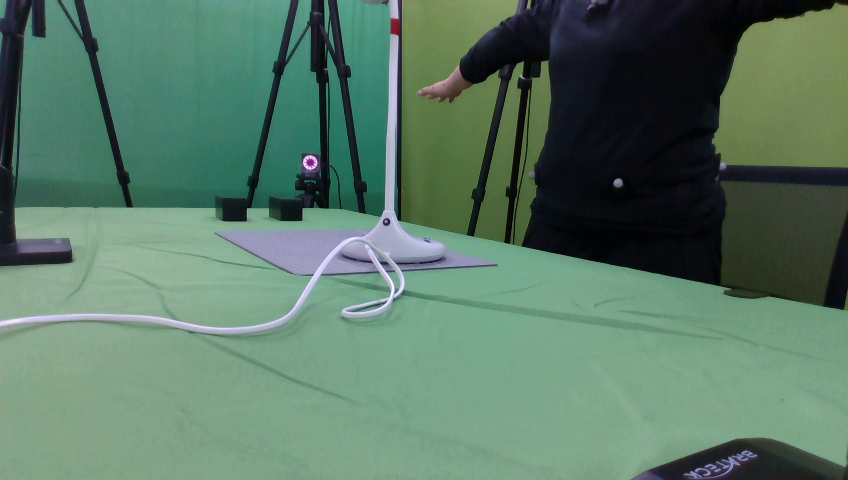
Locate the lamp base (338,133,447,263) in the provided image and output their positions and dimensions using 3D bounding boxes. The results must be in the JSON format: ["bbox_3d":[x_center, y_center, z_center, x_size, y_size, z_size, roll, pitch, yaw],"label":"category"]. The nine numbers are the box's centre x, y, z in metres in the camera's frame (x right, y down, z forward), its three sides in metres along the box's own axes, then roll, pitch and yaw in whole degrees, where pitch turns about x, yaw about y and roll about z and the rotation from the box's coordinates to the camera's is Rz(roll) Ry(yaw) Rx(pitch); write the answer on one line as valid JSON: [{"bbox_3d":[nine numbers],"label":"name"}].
[{"bbox_3d":[-0.043,-0.062,0.868,0.161,0.180,0.179,2,10,-3],"label":"lamp base"}]

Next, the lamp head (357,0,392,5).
[{"bbox_3d":[-0.056,-0.383,0.819,0.113,0.112,0.122,0,13,-22],"label":"lamp head"}]
